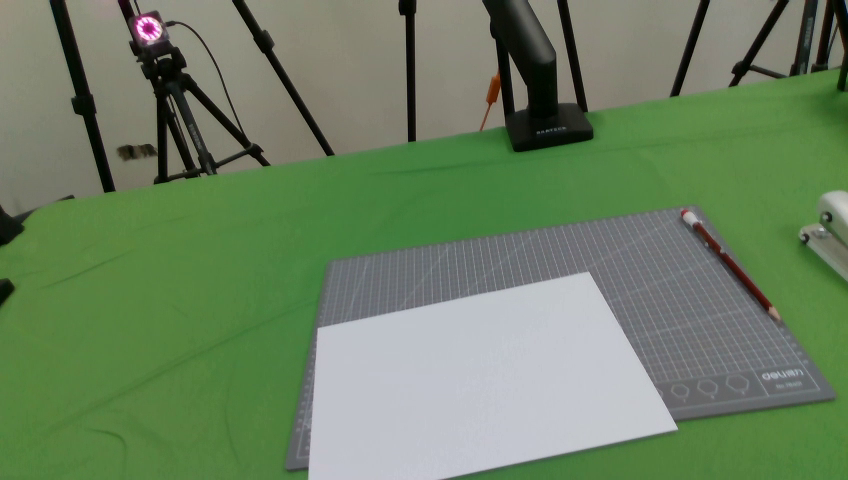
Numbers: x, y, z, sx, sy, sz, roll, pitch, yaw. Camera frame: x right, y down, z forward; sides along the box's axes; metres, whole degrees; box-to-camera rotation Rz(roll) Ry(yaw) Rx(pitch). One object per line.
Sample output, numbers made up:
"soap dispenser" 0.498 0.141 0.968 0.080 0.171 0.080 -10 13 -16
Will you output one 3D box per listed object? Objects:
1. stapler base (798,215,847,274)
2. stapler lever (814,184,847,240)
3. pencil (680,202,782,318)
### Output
"stapler base" 0.419 0.008 0.589 0.041 0.025 0.129 -14 36 2
"stapler lever" 0.415 -0.011 0.572 0.027 0.040 0.117 -14 37 2
"pencil" 0.309 0.014 0.620 0.012 0.012 0.192 -12 36 1
